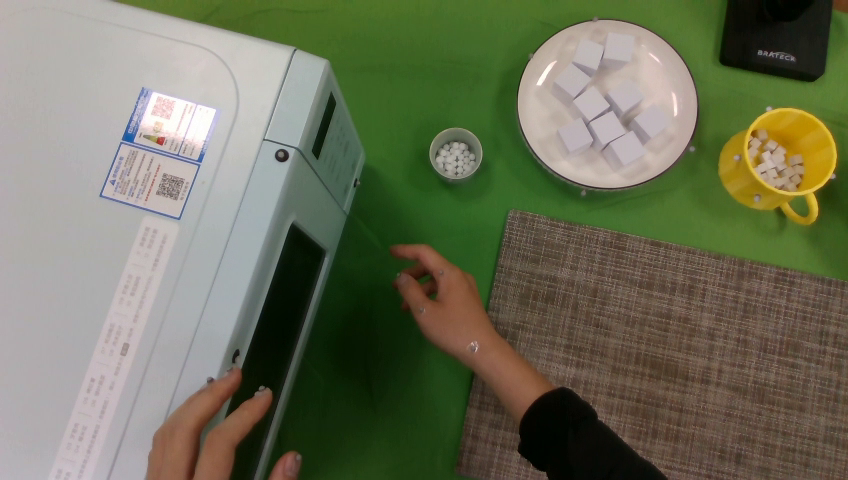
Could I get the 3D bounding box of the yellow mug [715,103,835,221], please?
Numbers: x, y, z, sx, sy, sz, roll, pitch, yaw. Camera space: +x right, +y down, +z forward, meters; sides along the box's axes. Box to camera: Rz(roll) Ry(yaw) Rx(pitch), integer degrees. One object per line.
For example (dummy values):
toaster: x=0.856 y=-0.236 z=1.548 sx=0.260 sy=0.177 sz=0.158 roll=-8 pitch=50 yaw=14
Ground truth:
yellow mug: x=0.399 y=-0.081 z=0.680 sx=0.100 sy=0.064 sz=0.130 roll=-24 pitch=82 yaw=-2

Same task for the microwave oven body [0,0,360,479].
microwave oven body: x=-0.287 y=0.030 z=0.576 sx=0.326 sy=0.261 sz=0.440 roll=16 pitch=82 yaw=3

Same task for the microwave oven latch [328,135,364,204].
microwave oven latch: x=-0.093 y=-0.083 z=0.686 sx=0.030 sy=0.029 sz=0.079 roll=20 pitch=83 yaw=4

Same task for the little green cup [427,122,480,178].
little green cup: x=0.034 y=-0.102 z=0.704 sx=0.061 sy=0.039 sz=0.061 roll=0 pitch=82 yaw=2

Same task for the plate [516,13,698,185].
plate: x=0.210 y=-0.162 z=0.711 sx=0.207 sy=0.039 sz=0.207 roll=0 pitch=81 yaw=1

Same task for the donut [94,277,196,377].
donut: x=-0.277 y=0.086 z=0.606 sx=0.099 sy=0.048 sz=0.099 roll=0 pitch=84 yaw=-1

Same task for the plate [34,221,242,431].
plate: x=-0.287 y=0.087 z=0.621 sx=0.209 sy=0.038 sz=0.208 roll=0 pitch=82 yaw=1

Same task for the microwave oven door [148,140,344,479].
microwave oven door: x=-0.159 y=0.109 z=0.556 sx=0.039 sy=0.244 sz=0.355 roll=16 pitch=81 yaw=4
